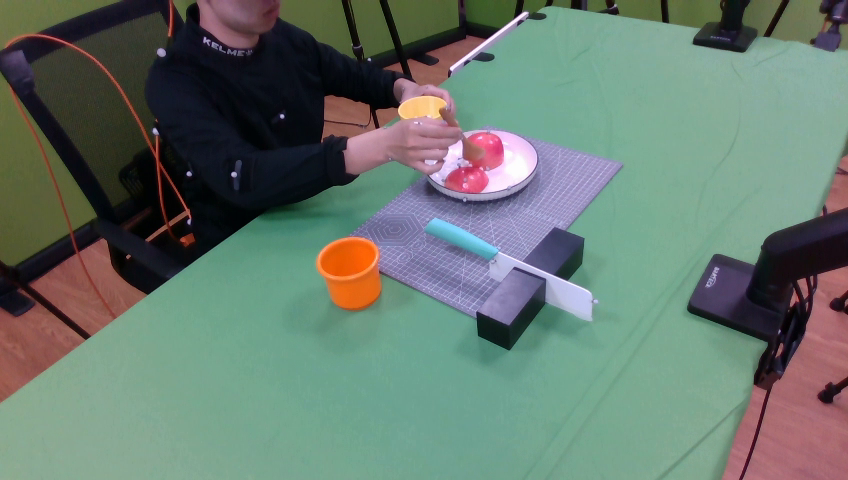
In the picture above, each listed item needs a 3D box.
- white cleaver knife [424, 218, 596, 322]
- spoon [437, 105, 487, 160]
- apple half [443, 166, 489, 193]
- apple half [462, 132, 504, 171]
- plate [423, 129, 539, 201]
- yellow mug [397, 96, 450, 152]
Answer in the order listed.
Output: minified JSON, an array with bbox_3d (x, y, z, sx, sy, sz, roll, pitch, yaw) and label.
[{"bbox_3d":[0.114,0.042,0.865,0.284,0.066,0.021,27,47,28],"label":"white cleaver knife"},{"bbox_3d":[0.058,-0.171,0.977,0.041,0.195,0.021,-19,64,18],"label":"spoon"},{"bbox_3d":[0.074,-0.113,1.063,0.081,0.033,0.081,-6,39,5],"label":"apple half"},{"bbox_3d":[0.109,-0.170,1.110,0.075,0.053,0.080,-6,40,-2],"label":"apple half"},{"bbox_3d":[0.103,-0.132,1.092,0.209,0.038,0.208,-4,40,4],"label":"plate"},{"bbox_3d":[-0.004,-0.226,1.200,0.099,0.064,0.130,5,43,16],"label":"yellow mug"}]
